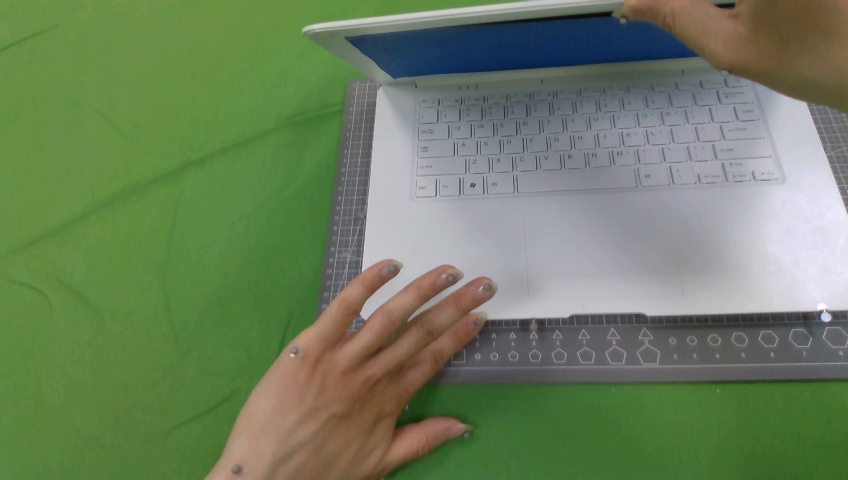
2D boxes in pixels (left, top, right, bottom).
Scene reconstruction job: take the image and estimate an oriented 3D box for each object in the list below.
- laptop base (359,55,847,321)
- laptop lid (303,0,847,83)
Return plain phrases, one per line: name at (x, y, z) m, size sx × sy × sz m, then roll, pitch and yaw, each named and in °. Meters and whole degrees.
laptop base at (0.131, -0.047, 0.478) m, size 0.354 × 0.023 × 0.233 m, roll -2°, pitch 62°, yaw 7°
laptop lid at (0.120, -0.138, 0.416) m, size 0.356 × 0.241 × 0.013 m, roll -2°, pitch 97°, yaw 8°
